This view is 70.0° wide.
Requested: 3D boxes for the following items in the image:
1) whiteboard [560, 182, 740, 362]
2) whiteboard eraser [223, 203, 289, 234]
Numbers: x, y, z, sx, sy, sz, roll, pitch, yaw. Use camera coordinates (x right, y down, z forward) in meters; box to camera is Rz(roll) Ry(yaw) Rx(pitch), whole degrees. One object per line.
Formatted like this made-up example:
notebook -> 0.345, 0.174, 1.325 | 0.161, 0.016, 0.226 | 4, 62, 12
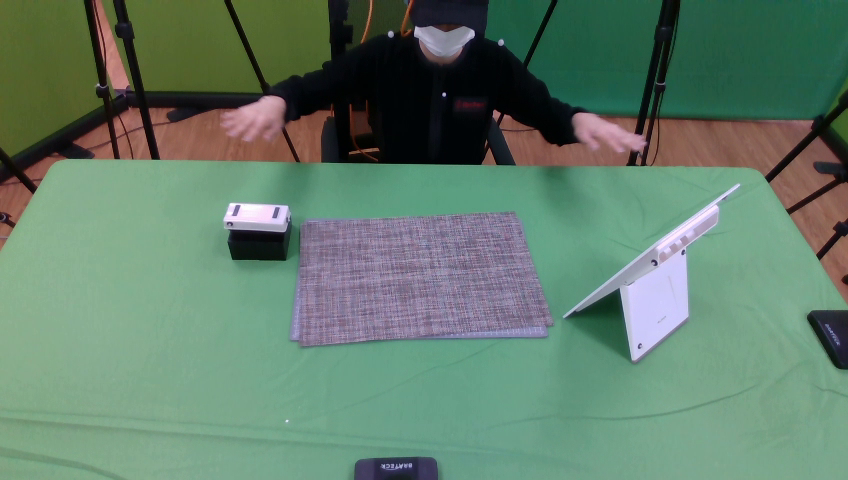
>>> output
whiteboard -> 0.406, 0.075, 1.001 | 0.217, 0.306, 0.143 | -28, 73, -28
whiteboard eraser -> -0.311, -0.039, 1.127 | 0.113, 0.042, 0.055 | 3, 47, -2
